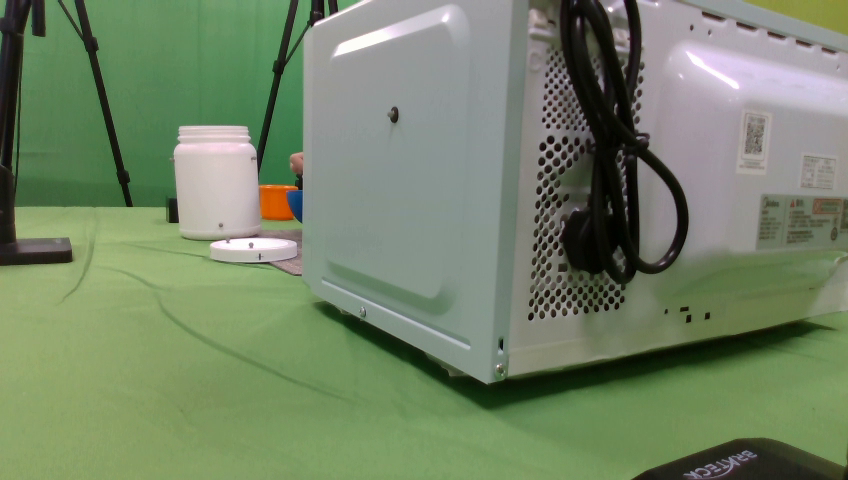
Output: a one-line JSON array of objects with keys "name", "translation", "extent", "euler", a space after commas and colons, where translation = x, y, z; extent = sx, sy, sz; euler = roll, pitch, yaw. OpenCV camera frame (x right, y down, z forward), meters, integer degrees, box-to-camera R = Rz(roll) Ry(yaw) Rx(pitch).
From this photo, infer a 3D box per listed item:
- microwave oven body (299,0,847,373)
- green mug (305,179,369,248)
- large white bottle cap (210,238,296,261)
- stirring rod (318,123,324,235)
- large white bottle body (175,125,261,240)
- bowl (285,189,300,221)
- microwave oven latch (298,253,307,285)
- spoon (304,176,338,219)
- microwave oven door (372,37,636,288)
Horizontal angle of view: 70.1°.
[{"name": "microwave oven body", "translation": [0.152, -0.055, 0.542], "extent": [0.444, 0.260, 0.324], "euler": [-2, 7, -33]}, {"name": "green mug", "translation": [-0.133, -0.044, 0.977], "extent": [0.092, 0.105, 0.126], "euler": [7, 9, 31]}, {"name": "large white bottle cap", "translation": [-0.236, 0.012, 0.839], "extent": [0.115, 0.018, 0.115], "euler": [1, 8, 0]}, {"name": "stirring rod", "translation": [-0.162, -0.094, 0.947], "extent": [0.006, 0.176, 0.014], "euler": [1, 9, 0]}, {"name": "large white bottle body", "translation": [-0.349, -0.100, 1.025], "extent": [0.131, 0.184, 0.130], "euler": [-1, 9, 0]}, {"name": "bowl", "translation": [-0.180, -0.051, 1.113], "extent": [0.151, 0.077, 0.151], "euler": [2, 8, 0]}, {"name": "microwave oven latch", "translation": [-0.081, 0.027, 0.582], "extent": [0.079, 0.029, 0.030], "euler": [-2, 7, -33]}, {"name": "spoon", "translation": [-0.201, -0.084, 1.146], "extent": [0.042, 0.021, 0.193], "euler": [3, 30, -25]}, {"name": "microwave oven door", "translation": [0.109, -0.080, 0.686], "extent": [0.358, 0.243, 0.039], "euler": [-2, 9, -33]}]
